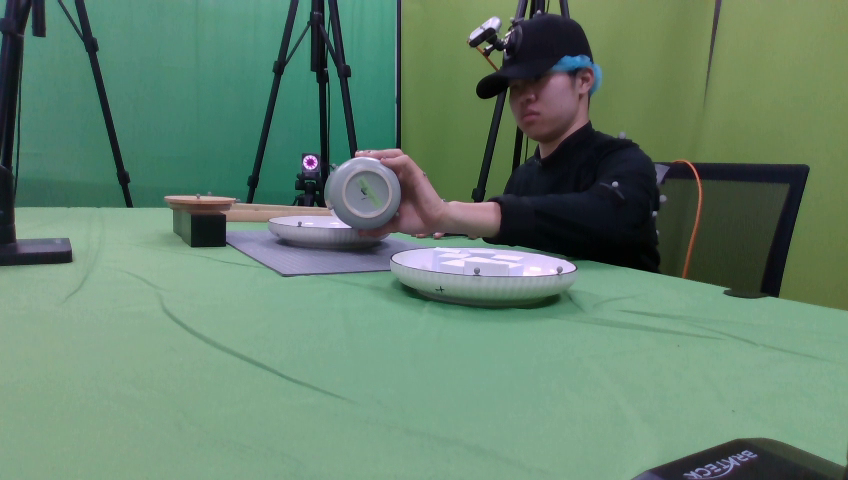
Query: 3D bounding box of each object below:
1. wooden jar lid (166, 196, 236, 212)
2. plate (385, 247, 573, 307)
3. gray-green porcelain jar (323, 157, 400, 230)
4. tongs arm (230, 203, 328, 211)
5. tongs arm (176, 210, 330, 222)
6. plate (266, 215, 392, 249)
[{"bbox_3d":[-0.369,-0.060,1.001,0.108,0.020,0.108,3,6,0],"label":"wooden jar lid"},{"bbox_3d":[0.060,0.041,0.678,0.208,0.039,0.207,3,7,0],"label":"plate"},{"bbox_3d":[-0.095,-0.069,0.903,0.106,0.105,0.126,1,4,-13],"label":"gray-green porcelain jar"},{"bbox_3d":[-0.362,-0.068,1.406,0.386,0.026,0.050,2,8,-14],"label":"tongs arm"},{"bbox_3d":[-0.337,-0.053,1.329,0.389,0.028,0.028,-1,6,-27],"label":"tongs arm"},{"bbox_3d":[-0.159,-0.015,1.019,0.209,0.038,0.209,3,7,0],"label":"plate"}]
